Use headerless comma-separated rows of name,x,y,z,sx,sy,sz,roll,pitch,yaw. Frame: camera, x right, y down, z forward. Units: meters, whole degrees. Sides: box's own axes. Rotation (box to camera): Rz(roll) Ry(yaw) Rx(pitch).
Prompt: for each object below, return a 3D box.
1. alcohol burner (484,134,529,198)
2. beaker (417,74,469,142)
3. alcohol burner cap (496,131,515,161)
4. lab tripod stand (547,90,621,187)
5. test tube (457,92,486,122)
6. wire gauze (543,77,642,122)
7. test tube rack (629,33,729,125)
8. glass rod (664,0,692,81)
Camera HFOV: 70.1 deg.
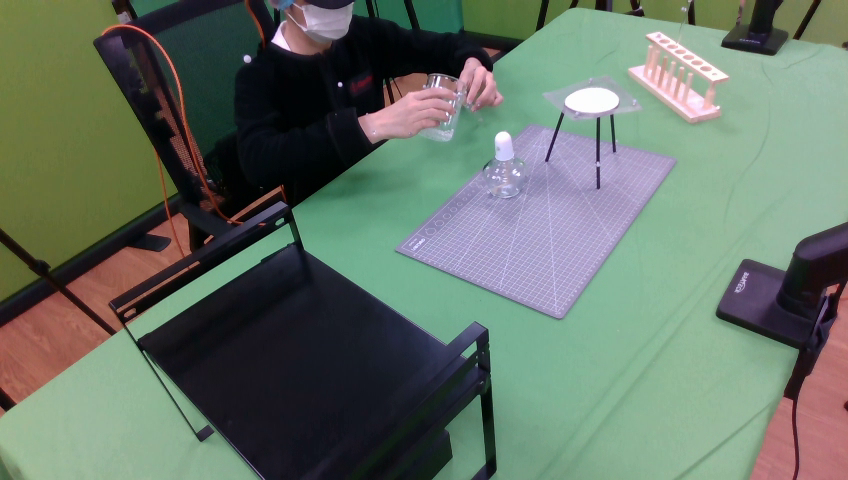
alcohol burner,0.141,-0.133,1.041,0.078,0.119,0.077,-4,43,5
beaker,0.033,-0.230,1.069,0.073,0.084,0.100,13,85,25
alcohol burner cap,0.135,-0.160,1.019,0.034,0.048,0.033,-8,38,6
lab tripod stand,0.289,-0.184,1.062,0.148,0.132,0.147,-6,41,6
test tube,0.094,-0.258,1.182,0.017,0.151,0.017,-3,83,21
wire gauze,0.282,-0.236,1.020,0.125,0.011,0.120,-15,40,-6
test tube rack,0.516,-0.337,1.247,0.067,0.085,0.240,-14,41,-7
glass rod,0.524,-0.419,1.240,0.008,0.200,0.008,1,42,-1
